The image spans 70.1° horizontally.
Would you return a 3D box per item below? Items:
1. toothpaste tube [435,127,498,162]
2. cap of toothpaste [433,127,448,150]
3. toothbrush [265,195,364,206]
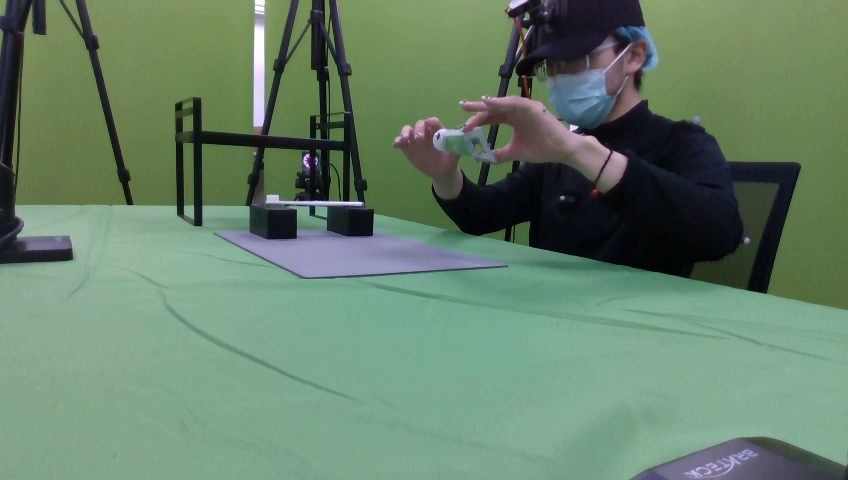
[{"bbox_3d":[0.059,-0.146,0.886,0.034,0.055,0.164,-39,24,-10],"label":"toothpaste tube"},{"bbox_3d":[0.032,-0.161,0.958,0.037,0.037,0.011,-1,12,-21],"label":"cap of toothpaste"},{"bbox_3d":[-0.194,-0.069,1.089,0.183,0.016,0.014,0,-5,-27],"label":"toothbrush"}]
